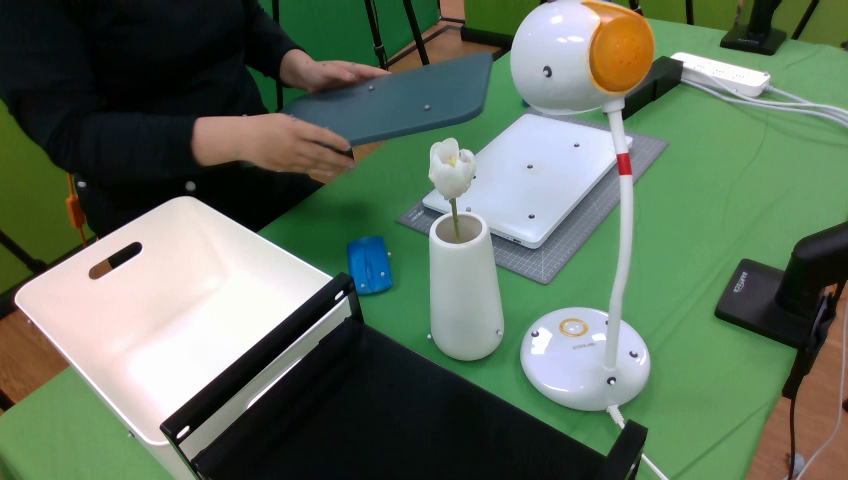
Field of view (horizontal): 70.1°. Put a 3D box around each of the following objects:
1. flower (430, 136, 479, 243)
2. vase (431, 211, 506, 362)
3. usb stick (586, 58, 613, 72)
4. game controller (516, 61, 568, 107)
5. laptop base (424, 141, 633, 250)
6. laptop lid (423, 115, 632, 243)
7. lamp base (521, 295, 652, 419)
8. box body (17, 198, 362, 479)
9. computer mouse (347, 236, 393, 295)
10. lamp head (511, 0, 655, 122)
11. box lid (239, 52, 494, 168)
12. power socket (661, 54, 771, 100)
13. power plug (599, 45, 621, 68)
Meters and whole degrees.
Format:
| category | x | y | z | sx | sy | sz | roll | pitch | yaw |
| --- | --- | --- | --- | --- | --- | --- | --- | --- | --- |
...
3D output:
| category | x | y | z | sx | sy | sz | roll | pitch | yaw |
| --- | --- | --- | --- | --- | --- | --- | --- | --- | --- |
| flower | 0.041 | 0.011 | 0.691 | 0.044 | 0.363 | 0.038 | 16 | 63 | 14 |
| vase | 0.054 | 0.062 | 0.757 | 0.098 | 0.201 | 0.097 | -3 | 40 | 3 |
| usb stick | 0.401 | -0.399 | 1.380 | 0.059 | 0.027 | 0.021 | 1 | 48 | 20 |
| game controller | 0.259 | -0.352 | 1.336 | 0.097 | 0.052 | 0.154 | -3 | 41 | 2 |
| laptop base | 0.194 | -0.117 | 1.088 | 0.233 | 0.023 | 0.355 | 21 | 48 | 34 |
| laptop lid | 0.190 | -0.126 | 1.081 | 0.239 | 0.013 | 0.358 | 23 | 48 | 34 |
| lamp base | 0.201 | 0.095 | 0.710 | 0.161 | 0.181 | 0.177 | -16 | 43 | -10 |
| box body | -0.285 | 0.123 | 0.766 | 0.361 | 0.161 | 0.255 | 25 | 49 | 33 |
| computer mouse | -0.085 | 0.035 | 0.936 | 0.063 | 0.041 | 0.116 | -8 | 44 | -5 |
| lamp head | 0.155 | -0.168 | 0.564 | 0.113 | 0.113 | 0.122 | -18 | 23 | -12 |
| box lid | -0.078 | -0.202 | 0.920 | 0.370 | 0.015 | 0.262 | -9 | 32 | 16 |
| power socket | 0.615 | -0.348 | 1.285 | 0.072 | 0.033 | 0.225 | -36 | 48 | -28 |
| power plug | 0.437 | -0.422 | 1.412 | 0.053 | 0.035 | 0.072 | -17 | 74 | -47 |
